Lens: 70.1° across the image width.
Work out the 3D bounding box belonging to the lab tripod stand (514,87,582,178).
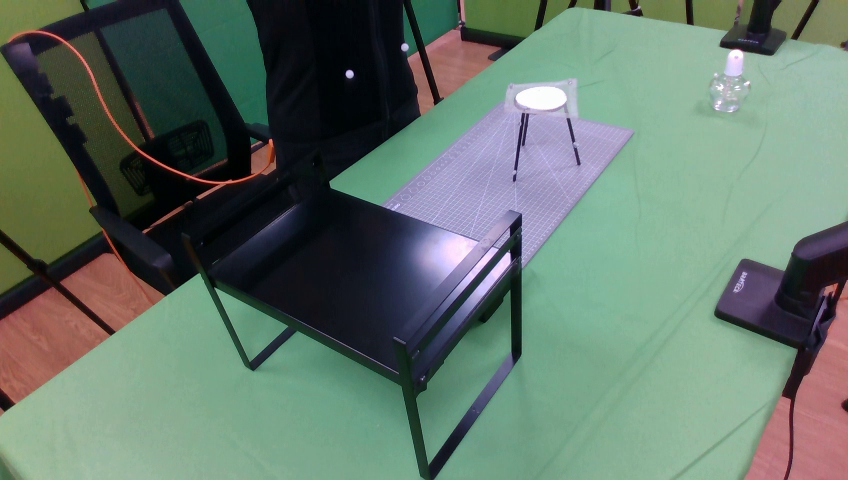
[{"bbox_3d":[0.211,-0.196,1.082,0.148,0.132,0.147,-3,40,3],"label":"lab tripod stand"}]

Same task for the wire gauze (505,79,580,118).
[{"bbox_3d":[0.203,-0.244,1.036,0.125,0.011,0.121,4,41,11],"label":"wire gauze"}]

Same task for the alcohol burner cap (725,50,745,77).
[{"bbox_3d":[0.596,-0.340,1.154,0.034,0.048,0.033,-8,45,8],"label":"alcohol burner cap"}]

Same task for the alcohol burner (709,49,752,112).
[{"bbox_3d":[0.600,-0.313,1.178,0.078,0.119,0.077,-5,40,5],"label":"alcohol burner"}]
